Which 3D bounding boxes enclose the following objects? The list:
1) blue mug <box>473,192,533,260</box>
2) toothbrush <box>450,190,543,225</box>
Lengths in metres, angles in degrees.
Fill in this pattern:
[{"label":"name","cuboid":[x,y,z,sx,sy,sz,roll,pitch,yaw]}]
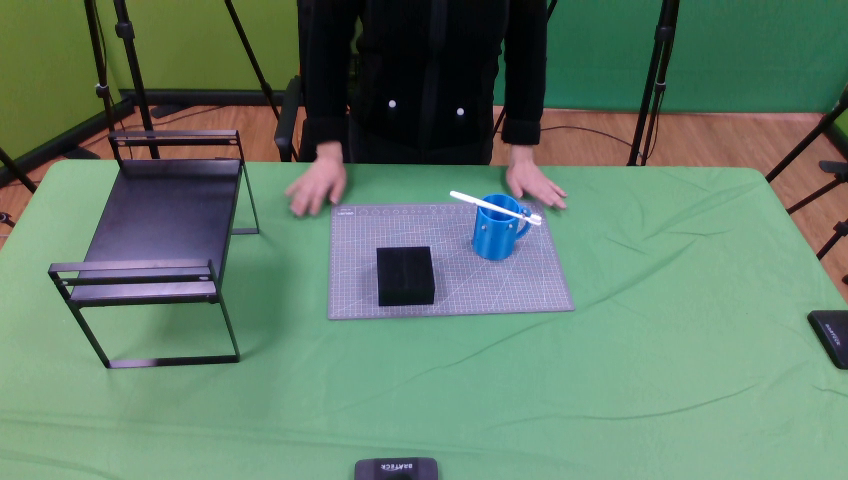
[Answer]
[{"label":"blue mug","cuboid":[0.156,-0.029,1.173,0.117,0.106,0.082,-8,47,-12]},{"label":"toothbrush","cuboid":[0.133,-0.063,1.123,0.181,0.017,0.014,19,52,14]}]
